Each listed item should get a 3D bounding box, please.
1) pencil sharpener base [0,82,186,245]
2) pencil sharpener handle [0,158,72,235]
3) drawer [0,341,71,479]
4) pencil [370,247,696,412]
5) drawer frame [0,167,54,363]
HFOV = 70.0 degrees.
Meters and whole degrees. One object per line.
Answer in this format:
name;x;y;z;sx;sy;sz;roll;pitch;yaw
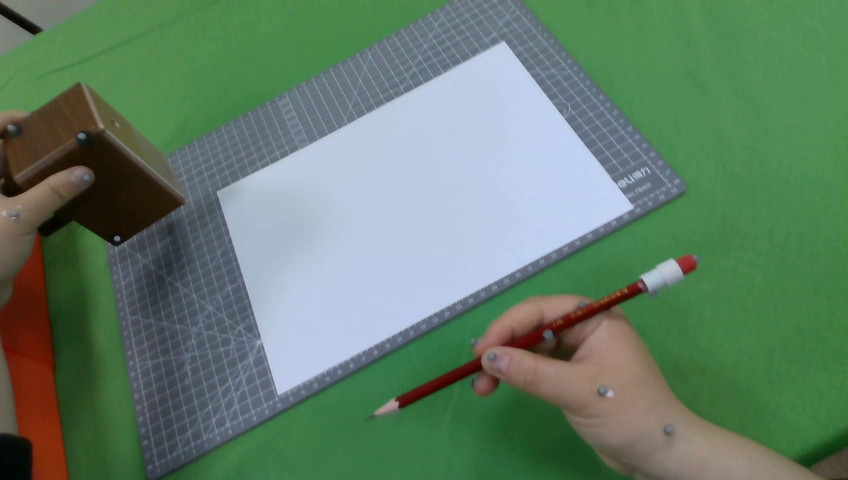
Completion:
pencil sharpener base;-0.252;-0.053;0.467;0.076;0.108;0.061;-35;61;-3
pencil sharpener handle;-0.296;-0.029;0.453;0.030;0.068;0.035;-35;57;-3
drawer;-0.392;0.148;0.470;0.194;0.074;0.209;-30;59;0
pencil;0.057;0.051;0.327;0.194;0.012;0.012;-27;59;3
drawer frame;-0.443;0.061;0.529;0.201;0.083;0.211;-30;58;0
